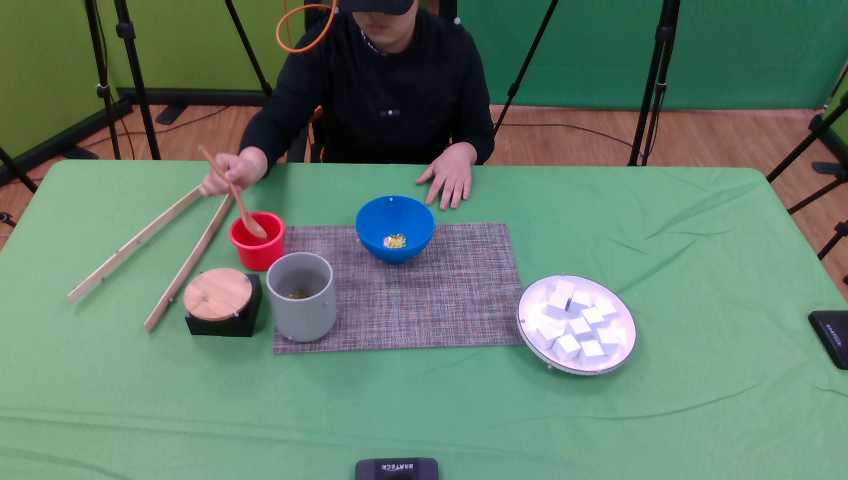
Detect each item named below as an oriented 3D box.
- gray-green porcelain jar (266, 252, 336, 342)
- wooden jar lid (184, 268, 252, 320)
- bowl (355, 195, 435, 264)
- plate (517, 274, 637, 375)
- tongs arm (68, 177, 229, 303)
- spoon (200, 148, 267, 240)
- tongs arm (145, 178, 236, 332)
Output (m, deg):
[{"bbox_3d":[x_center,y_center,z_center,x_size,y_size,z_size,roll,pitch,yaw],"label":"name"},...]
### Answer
[{"bbox_3d":[-0.202,0.100,1.009,0.106,0.127,0.105,2,46,-2],"label":"gray-green porcelain jar"},{"bbox_3d":[-0.343,0.092,1.015,0.108,0.021,0.107,3,46,-3],"label":"wooden jar lid"},{"bbox_3d":[-0.056,-0.008,1.158,0.151,0.077,0.150,2,46,-2],"label":"bowl"},{"bbox_3d":[0.264,0.149,1.060,0.209,0.038,0.208,3,46,-3],"label":"plate"},{"bbox_3d":[-0.510,-0.010,1.162,0.050,0.026,0.383,20,47,14],"label":"tongs arm"},{"bbox_3d":[-0.341,-0.081,1.086,0.021,0.194,0.041,-22,19,13],"label":"spoon"},{"bbox_3d":[-0.432,0.014,1.149,0.028,0.028,0.385,8,45,7],"label":"tongs arm"}]
